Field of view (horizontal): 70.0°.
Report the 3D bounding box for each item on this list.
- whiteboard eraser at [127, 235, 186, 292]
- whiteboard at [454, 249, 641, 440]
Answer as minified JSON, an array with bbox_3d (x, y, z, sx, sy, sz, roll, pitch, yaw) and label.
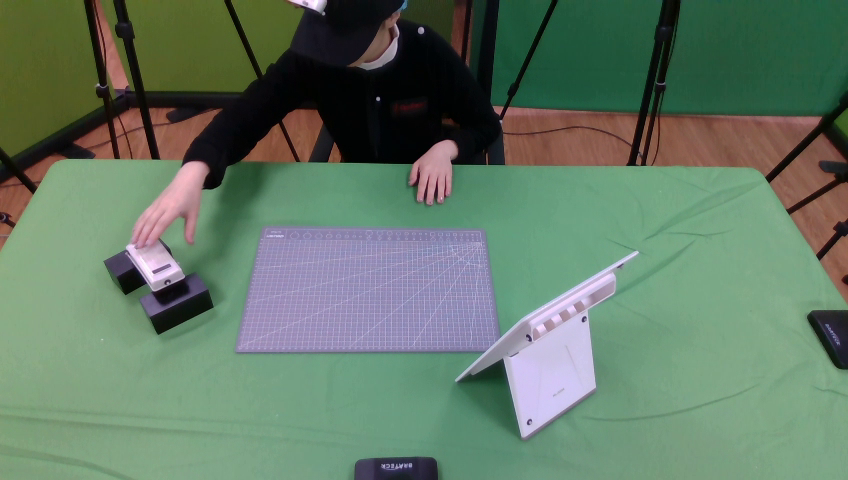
[{"bbox_3d":[-0.460,0.041,1.042,0.055,0.042,0.112,-31,56,-28],"label":"whiteboard eraser"},{"bbox_3d":[0.206,0.174,0.890,0.217,0.306,0.143,-24,72,-25],"label":"whiteboard"}]
